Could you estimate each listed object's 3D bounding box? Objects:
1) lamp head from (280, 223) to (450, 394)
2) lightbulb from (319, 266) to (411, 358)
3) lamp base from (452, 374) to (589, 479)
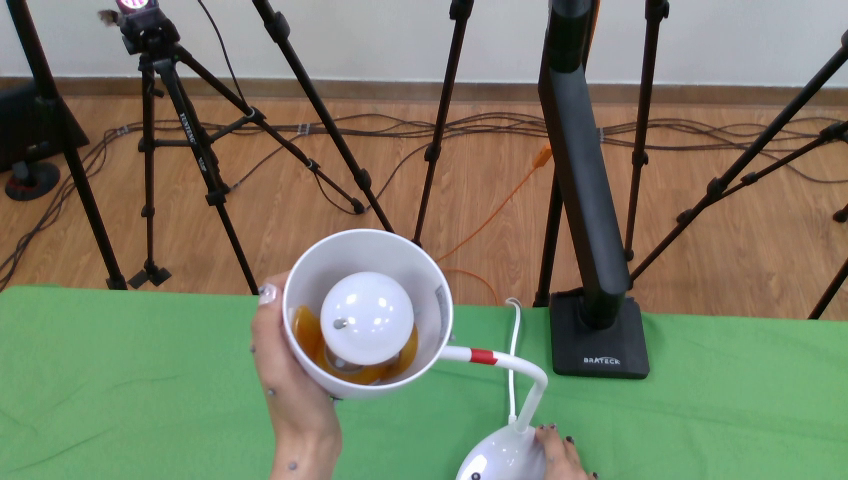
[{"bbox_3d":[-0.044,0.063,0.440,0.112,0.123,0.111,4,62,-8],"label":"lamp head"},{"bbox_3d":[-0.045,0.055,0.415,0.060,0.108,0.059,6,68,-14],"label":"lightbulb"},{"bbox_3d":[0.108,0.230,0.632,0.161,0.182,0.177,-8,51,-6],"label":"lamp base"}]
